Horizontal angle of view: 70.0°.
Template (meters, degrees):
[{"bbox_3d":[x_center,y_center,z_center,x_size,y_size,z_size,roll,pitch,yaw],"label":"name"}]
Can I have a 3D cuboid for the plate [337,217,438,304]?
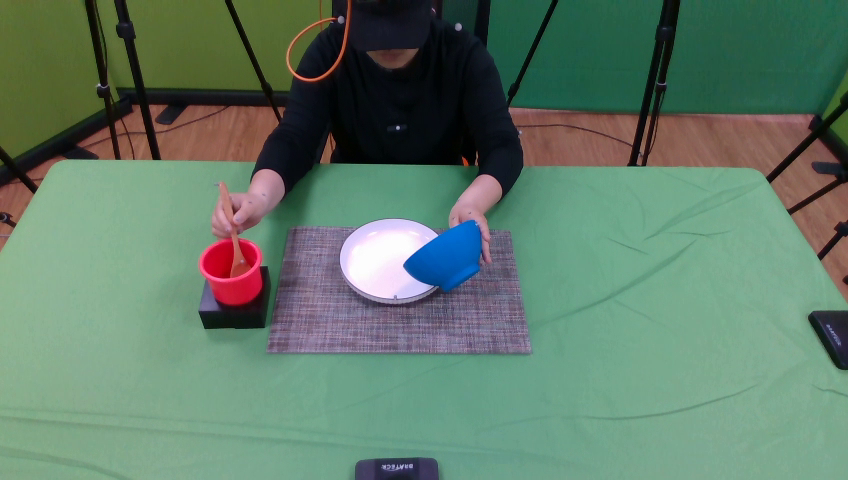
[{"bbox_3d":[-0.058,0.042,1.137,0.208,0.039,0.206,2,46,-2],"label":"plate"}]

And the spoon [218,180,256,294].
[{"bbox_3d":[-0.317,-0.004,1.015,0.042,0.194,0.021,-12,8,-22],"label":"spoon"}]

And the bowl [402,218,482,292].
[{"bbox_3d":[0.046,0.036,1.037,0.151,0.151,0.076,-28,79,-26],"label":"bowl"}]
